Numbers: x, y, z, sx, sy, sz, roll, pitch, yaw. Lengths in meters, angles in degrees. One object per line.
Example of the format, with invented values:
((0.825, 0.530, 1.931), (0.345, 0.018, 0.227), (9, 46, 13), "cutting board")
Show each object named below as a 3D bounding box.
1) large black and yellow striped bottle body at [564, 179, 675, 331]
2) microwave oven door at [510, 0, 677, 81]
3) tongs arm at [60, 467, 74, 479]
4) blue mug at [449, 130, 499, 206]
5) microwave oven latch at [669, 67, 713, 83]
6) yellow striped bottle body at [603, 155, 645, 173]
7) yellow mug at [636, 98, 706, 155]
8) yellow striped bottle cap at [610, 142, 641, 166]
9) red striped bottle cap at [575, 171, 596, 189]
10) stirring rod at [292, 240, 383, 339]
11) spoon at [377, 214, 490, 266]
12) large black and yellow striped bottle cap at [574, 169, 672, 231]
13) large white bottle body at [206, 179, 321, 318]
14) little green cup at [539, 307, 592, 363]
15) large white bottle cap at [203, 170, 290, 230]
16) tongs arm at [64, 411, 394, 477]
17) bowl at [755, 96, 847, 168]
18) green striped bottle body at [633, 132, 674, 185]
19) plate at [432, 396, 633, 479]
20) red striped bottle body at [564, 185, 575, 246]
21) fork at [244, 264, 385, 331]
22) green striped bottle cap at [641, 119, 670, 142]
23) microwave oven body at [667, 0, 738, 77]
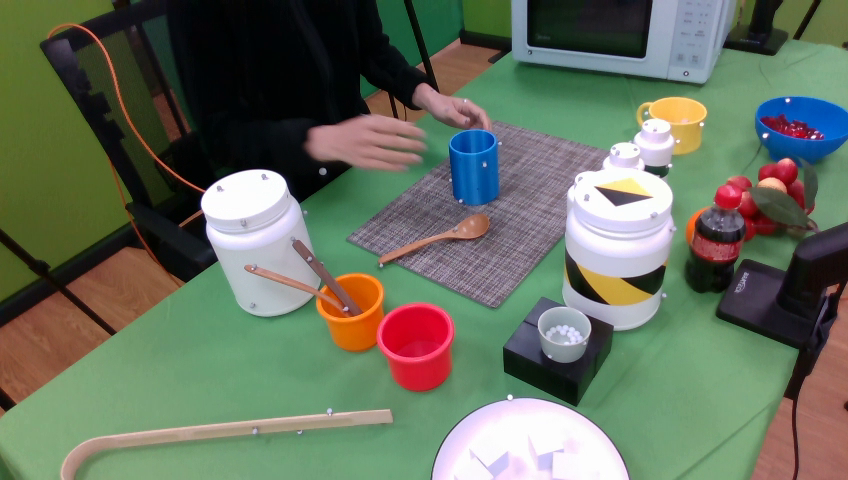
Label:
((0.253, 0.014, 0.793), (0.131, 0.185, 0.130), (-5, 40, 4), "large black and yellow striped bottle body")
((0.354, -0.478, 1.290), (0.353, 0.245, 0.039), (15, 45, 25), "microwave oven door")
((-0.239, 0.301, 0.648), (0.386, 0.028, 0.028), (6, 49, 16), "tongs arm")
((0.091, -0.134, 1.051), (0.082, 0.106, 0.116), (4, 41, 13), "blue mug")
((0.556, -0.348, 1.261), (0.078, 0.029, 0.030), (16, 46, 27), "microwave oven latch")
((0.314, -0.090, 0.957), (0.063, 0.121, 0.062), (-4, 40, 4), "yellow striped bottle body")
((0.453, -0.217, 1.128), (0.100, 0.064, 0.129), (-34, 46, -27), "yellow mug")
((0.308, -0.131, 0.925), (0.044, 0.019, 0.044), (-4, 45, 5), "yellow striped bottle cap")
((0.242, -0.081, 0.876), (0.044, 0.018, 0.044), (-5, 43, 5), "red striped bottle cap")
((-0.118, 0.068, 0.826), (0.176, 0.006, 0.014), (49, 59, -4), "stirring rod")
((0.015, 0.002, 0.966), (0.194, 0.022, 0.041), (-18, 62, -12), "spoon")
((0.242, -0.051, 0.738), (0.115, 0.019, 0.114), (-4, 37, 3), "large black and yellow striped bottle cap")
((-0.233, 0.008, 0.876), (0.130, 0.185, 0.130), (-5, 41, 4), "large white bottle body")
((0.168, 0.115, 0.721), (0.061, 0.039, 0.061), (-4, 42, 4), "little green cup")
((-0.241, -0.056, 0.822), (0.115, 0.018, 0.114), (-4, 40, 4), "large white bottle cap")
((-0.228, 0.241, 0.715), (0.385, 0.026, 0.050), (-5, 43, 4), "tongs arm")
((0.645, -0.177, 1.041), (0.151, 0.077, 0.150), (-5, 40, 4), "bowl")
((0.376, -0.135, 1.001), (0.063, 0.120, 0.063), (-5, 40, 5), "green striped bottle body")
((0.112, 0.261, 0.634), (0.209, 0.038, 0.208), (-5, 40, 4), "plate")
((0.247, -0.041, 0.910), (0.063, 0.120, 0.062), (-3, 39, 3), "red striped bottle body")
((-0.142, 0.078, 0.807), (0.209, 0.018, 0.028), (30, 33, -24), "fork")
((0.371, -0.175, 0.968), (0.044, 0.020, 0.044), (-5, 42, 5), "green striped bottle cap")
((0.462, -0.552, 1.369), (0.439, 0.261, 0.326), (15, 45, 26), "microwave oven body")
